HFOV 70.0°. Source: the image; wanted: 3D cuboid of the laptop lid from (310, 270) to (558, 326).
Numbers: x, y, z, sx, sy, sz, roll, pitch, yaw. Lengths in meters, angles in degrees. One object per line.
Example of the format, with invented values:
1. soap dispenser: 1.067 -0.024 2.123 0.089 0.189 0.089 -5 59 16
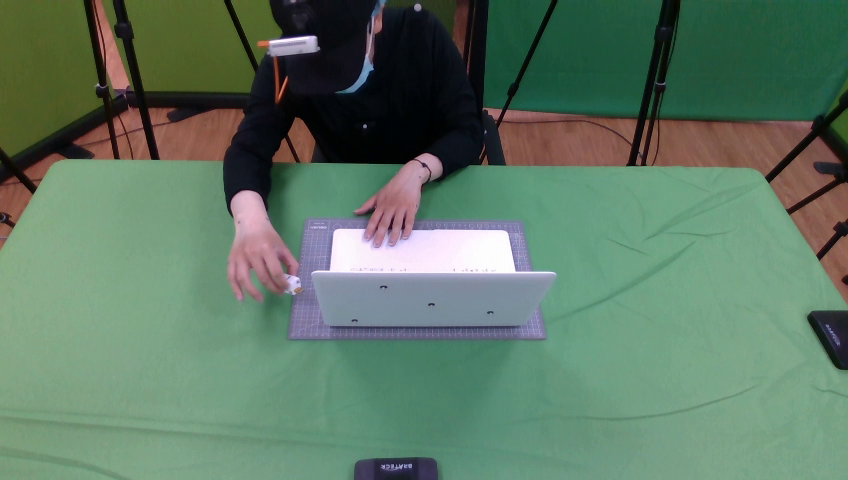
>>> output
1. laptop lid: 0.011 0.096 0.948 0.357 0.242 0.013 1 64 -4

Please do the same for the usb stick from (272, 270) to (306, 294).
1. usb stick: -0.229 0.074 1.035 0.059 0.027 0.021 20 37 20

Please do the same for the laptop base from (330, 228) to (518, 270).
1. laptop base: 0.001 0.063 1.134 0.354 0.023 0.234 0 43 -3
